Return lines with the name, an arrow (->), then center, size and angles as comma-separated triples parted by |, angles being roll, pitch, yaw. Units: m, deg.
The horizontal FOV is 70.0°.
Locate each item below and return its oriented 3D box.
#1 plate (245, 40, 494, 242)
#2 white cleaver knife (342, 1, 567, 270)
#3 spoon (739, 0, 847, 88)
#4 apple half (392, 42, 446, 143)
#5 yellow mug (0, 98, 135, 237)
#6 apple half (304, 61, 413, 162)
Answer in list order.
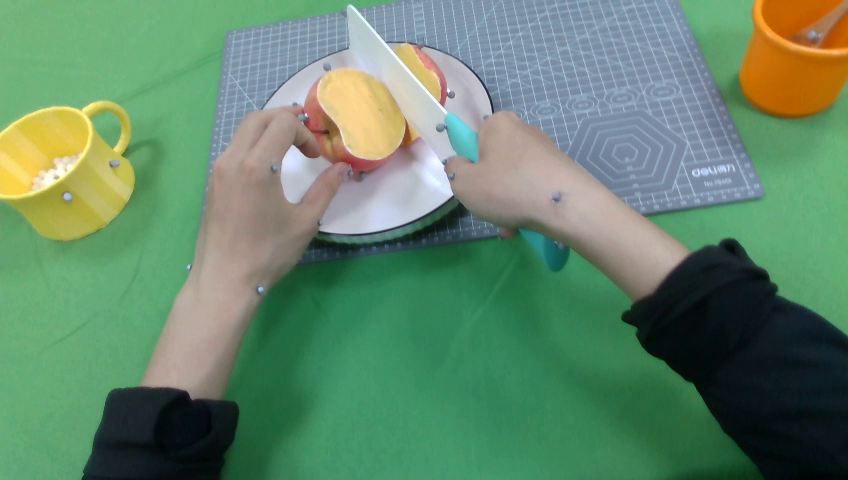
plate -> -0.045, -0.084, 0.512 | 0.209, 0.038, 0.207 | -4, 59, 7
white cleaver knife -> 0.012, -0.085, 0.456 | 0.021, 0.066, 0.283 | -29, 62, -15
spoon -> 0.327, -0.181, 0.448 | 0.022, 0.194, 0.041 | 16, 48, -33
apple half -> -0.008, -0.122, 0.511 | 0.033, 0.081, 0.080 | -12, 48, -44
yellow mug -> -0.311, -0.073, 0.535 | 0.099, 0.064, 0.130 | 24, 65, 21
apple half -> -0.053, -0.095, 0.479 | 0.074, 0.053, 0.080 | -32, 72, -27
